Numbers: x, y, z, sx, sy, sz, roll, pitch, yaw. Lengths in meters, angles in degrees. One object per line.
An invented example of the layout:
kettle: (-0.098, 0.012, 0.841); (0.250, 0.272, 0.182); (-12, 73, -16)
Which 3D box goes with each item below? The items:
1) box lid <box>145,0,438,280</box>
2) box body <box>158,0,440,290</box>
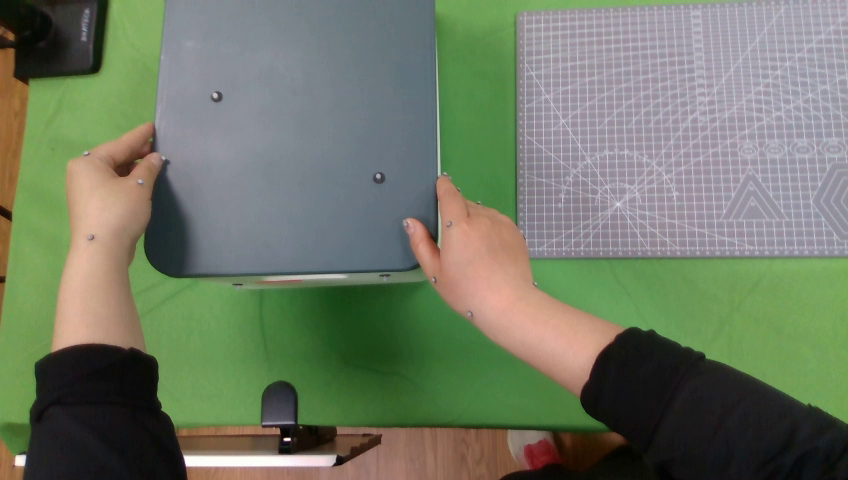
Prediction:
box lid: (-0.122, -0.150, 0.564); (0.263, 0.015, 0.370); (-2, 79, 4)
box body: (-0.115, -0.131, 0.645); (0.254, 0.161, 0.362); (-3, 79, 6)
